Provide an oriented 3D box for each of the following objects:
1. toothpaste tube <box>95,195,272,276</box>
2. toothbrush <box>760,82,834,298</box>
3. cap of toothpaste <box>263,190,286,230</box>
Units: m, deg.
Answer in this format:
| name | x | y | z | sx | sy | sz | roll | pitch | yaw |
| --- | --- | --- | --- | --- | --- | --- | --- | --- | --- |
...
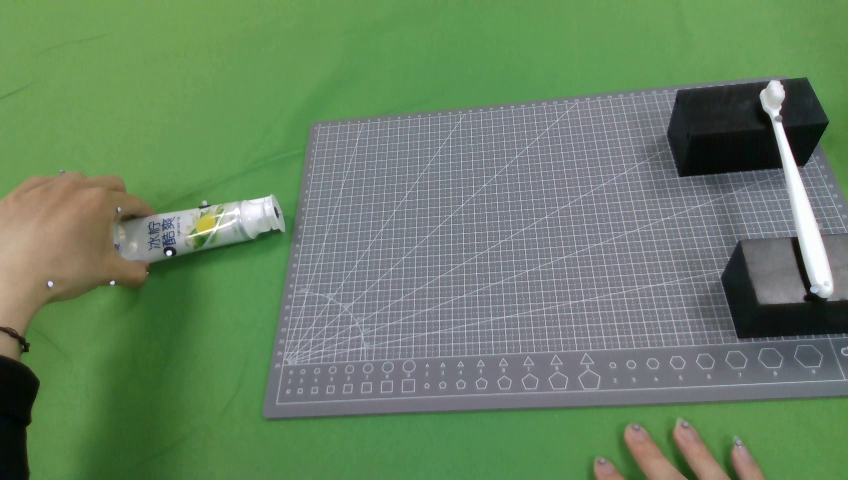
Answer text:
| name | x | y | z | sx | sy | sz | roll | pitch | yaw |
| --- | --- | --- | --- | --- | --- | --- | --- | --- | --- |
| toothpaste tube | -0.210 | -0.011 | 0.532 | 0.165 | 0.035 | 0.054 | -12 | 66 | 2 |
| toothbrush | 0.258 | -0.042 | 0.420 | 0.014 | 0.017 | 0.180 | 8 | 59 | -1 |
| cap of toothpaste | -0.131 | -0.025 | 0.528 | 0.011 | 0.038 | 0.037 | -18 | 55 | -4 |
